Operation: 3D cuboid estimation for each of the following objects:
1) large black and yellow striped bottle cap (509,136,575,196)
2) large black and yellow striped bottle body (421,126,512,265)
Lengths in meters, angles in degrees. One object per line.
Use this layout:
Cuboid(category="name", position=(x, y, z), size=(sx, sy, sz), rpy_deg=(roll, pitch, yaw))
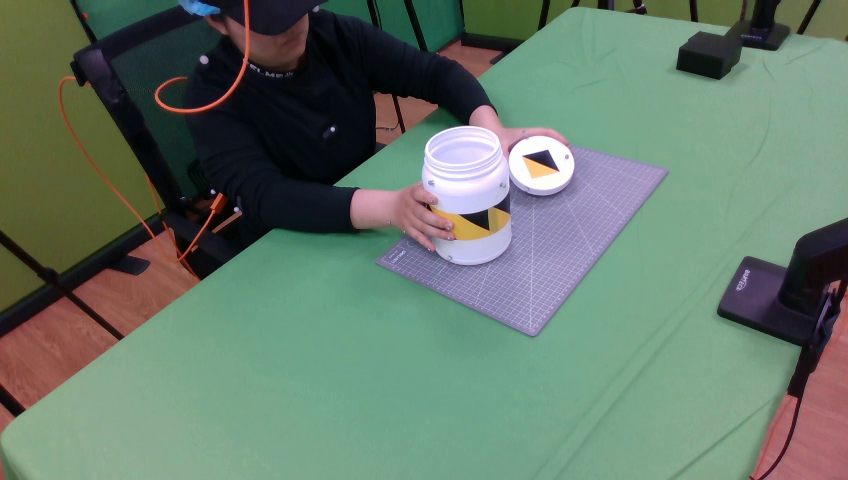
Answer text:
Cuboid(category="large black and yellow striped bottle cap", position=(0.206, -0.131, 1.055), size=(0.115, 0.019, 0.114), rpy_deg=(0, 64, 1))
Cuboid(category="large black and yellow striped bottle body", position=(0.066, -0.068, 0.920), size=(0.131, 0.185, 0.130), rpy_deg=(-5, 40, 5))
